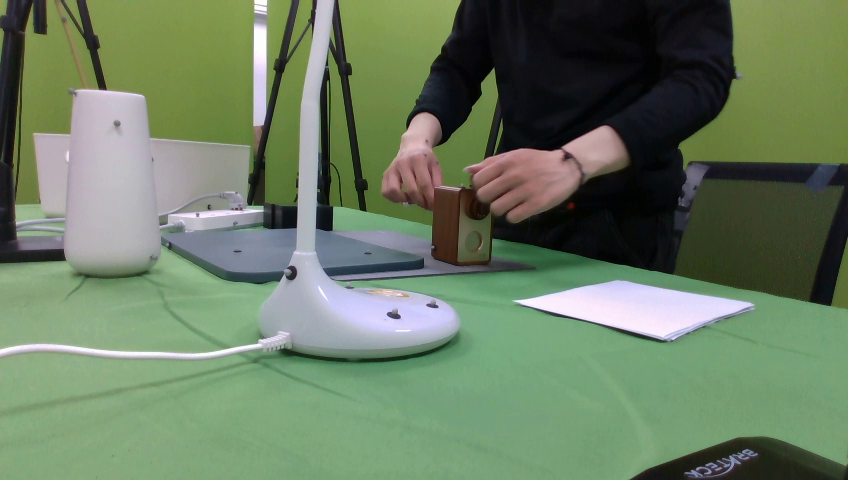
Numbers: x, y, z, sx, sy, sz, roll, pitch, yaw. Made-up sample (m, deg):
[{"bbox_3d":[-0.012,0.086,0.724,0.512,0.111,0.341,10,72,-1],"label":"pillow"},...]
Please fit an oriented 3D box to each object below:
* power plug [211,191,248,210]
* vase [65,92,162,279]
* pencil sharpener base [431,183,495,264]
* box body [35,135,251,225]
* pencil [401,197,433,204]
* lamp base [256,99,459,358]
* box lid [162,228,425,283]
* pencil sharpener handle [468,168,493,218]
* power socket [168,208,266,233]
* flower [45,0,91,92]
[{"bbox_3d":[-0.384,-0.071,1.205,0.072,0.052,0.035,1,8,28],"label":"power plug"},{"bbox_3d":[-0.347,-0.060,0.673,0.098,0.200,0.098,1,7,0],"label":"vase"},{"bbox_3d":[0.055,-0.024,0.842,0.061,0.107,0.076,-2,8,-29],"label":"pencil sharpener base"},{"bbox_3d":[-0.559,-0.127,1.257,0.253,0.160,0.365,4,8,15],"label":"box body"},{"bbox_3d":[0.007,-0.060,0.936,0.012,0.012,0.193,-2,5,-26],"label":"pencil"},{"bbox_3d":[-0.055,-0.013,0.463,0.160,0.180,0.180,6,11,27],"label":"lamp base"},{"bbox_3d":[-0.200,0.014,0.861,0.265,0.015,0.369,-4,9,-35],"label":"box lid"},{"bbox_3d":[0.079,-0.060,0.791,0.036,0.068,0.030,-11,13,-27],"label":"pencil sharpener handle"},{"bbox_3d":[-0.379,-0.038,1.129,0.072,0.032,0.227,4,8,18],"label":"power socket"},{"bbox_3d":[-0.361,-0.142,0.663,0.044,0.361,0.038,-12,11,30],"label":"flower"}]
